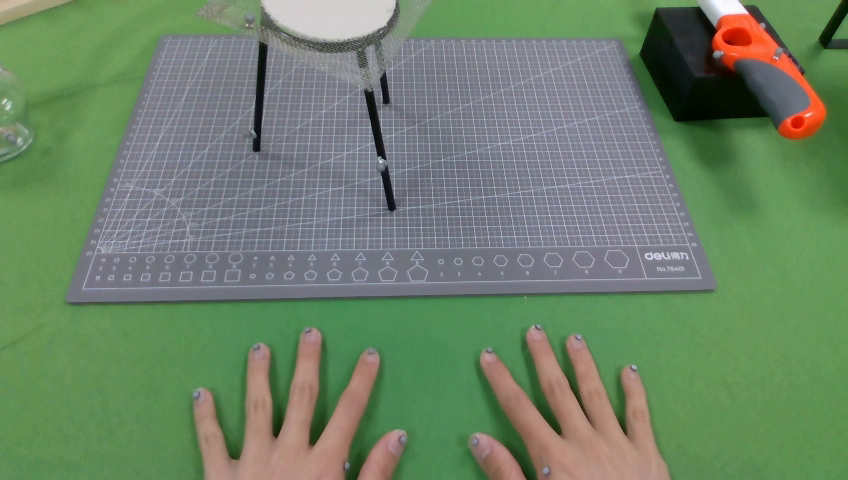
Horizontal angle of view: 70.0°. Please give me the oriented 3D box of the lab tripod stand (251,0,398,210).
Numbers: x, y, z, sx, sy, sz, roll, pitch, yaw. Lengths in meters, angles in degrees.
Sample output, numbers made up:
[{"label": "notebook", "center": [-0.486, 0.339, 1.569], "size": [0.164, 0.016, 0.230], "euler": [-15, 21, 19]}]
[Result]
[{"label": "lab tripod stand", "center": [-0.061, -0.110, 0.445], "size": [0.148, 0.132, 0.147], "euler": [3, 53, -3]}]

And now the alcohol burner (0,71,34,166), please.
[{"label": "alcohol burner", "center": [-0.345, -0.111, 0.446], "size": [0.078, 0.120, 0.077], "euler": [1, 55, -1]}]

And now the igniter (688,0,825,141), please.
[{"label": "igniter", "center": [0.269, -0.182, 0.529], "size": [0.057, 0.025, 0.273], "euler": [-5, 51, -3]}]

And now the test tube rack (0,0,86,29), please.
[{"label": "test tube rack", "center": [-0.350, -0.300, 0.606], "size": [0.242, 0.086, 0.066], "euler": [-32, 61, -24]}]

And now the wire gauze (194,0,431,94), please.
[{"label": "wire gauze", "center": [-0.063, -0.152, 0.392], "size": [0.124, 0.011, 0.121], "euler": [22, 55, 11]}]
